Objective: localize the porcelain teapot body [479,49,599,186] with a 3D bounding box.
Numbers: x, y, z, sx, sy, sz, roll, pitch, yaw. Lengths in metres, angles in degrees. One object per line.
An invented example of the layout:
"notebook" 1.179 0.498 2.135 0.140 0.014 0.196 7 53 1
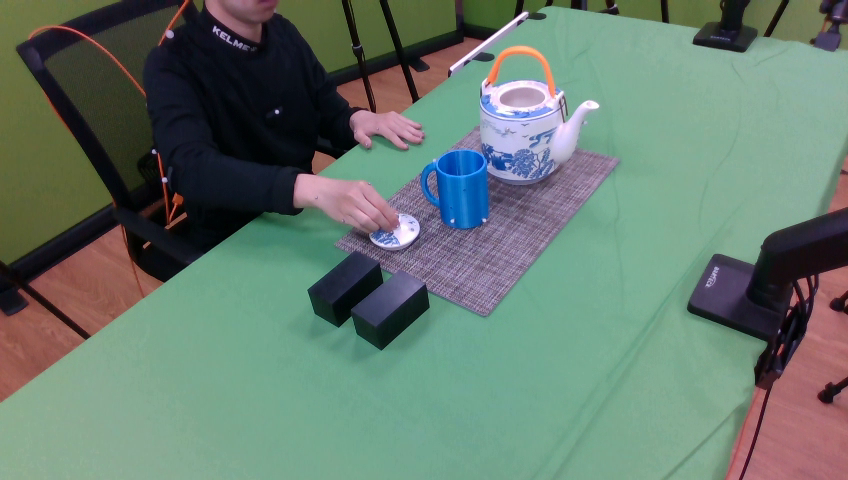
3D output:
"porcelain teapot body" 0.192 -0.208 1.023 0.204 0.226 0.145 17 46 25

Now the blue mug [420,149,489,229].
"blue mug" 0.048 -0.085 0.991 0.116 0.106 0.082 9 43 18

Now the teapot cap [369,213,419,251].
"teapot cap" -0.049 -0.019 0.976 0.085 0.044 0.084 -5 44 6
